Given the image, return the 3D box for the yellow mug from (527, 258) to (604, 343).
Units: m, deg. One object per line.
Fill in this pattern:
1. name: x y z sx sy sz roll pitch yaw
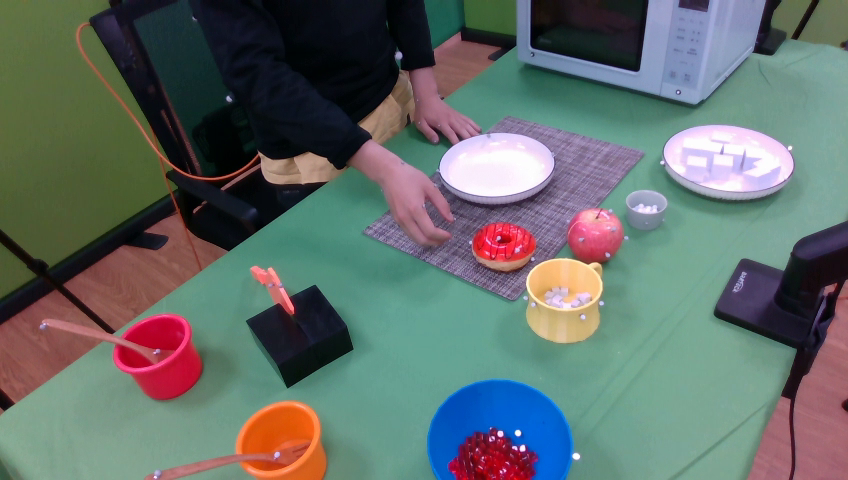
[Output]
1. yellow mug: 0.201 0.073 0.825 0.131 0.064 0.099 -32 46 -27

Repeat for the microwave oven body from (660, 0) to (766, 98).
1. microwave oven body: 0.472 -0.513 1.317 0.438 0.261 0.327 26 51 34

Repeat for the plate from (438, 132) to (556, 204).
1. plate: 0.130 -0.125 1.084 0.209 0.038 0.208 -4 40 4

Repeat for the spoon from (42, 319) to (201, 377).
1. spoon: -0.385 0.135 0.779 0.195 0.021 0.041 28 37 -26

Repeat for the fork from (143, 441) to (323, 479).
1. fork: -0.189 0.231 0.631 0.028 0.018 0.209 35 13 37

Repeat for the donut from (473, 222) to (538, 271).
1. donut: 0.124 0.009 0.923 0.099 0.048 0.098 -4 38 4

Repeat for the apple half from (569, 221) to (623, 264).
1. apple half: 0.251 0.010 0.884 0.081 0.081 0.032 3 37 12

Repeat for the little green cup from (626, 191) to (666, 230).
1. little green cup: 0.352 -0.046 0.963 0.061 0.039 0.061 -4 40 4

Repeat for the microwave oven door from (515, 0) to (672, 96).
1. microwave oven door: 0.343 -0.454 1.259 0.353 0.245 0.039 26 51 33

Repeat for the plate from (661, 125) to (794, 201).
1. plate: 0.513 -0.128 1.035 0.207 0.039 0.206 -4 40 4

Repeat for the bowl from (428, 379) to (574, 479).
1. bowl: 0.082 0.233 0.644 0.151 0.077 0.150 -4 39 4

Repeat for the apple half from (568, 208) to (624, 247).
1. apple half: 0.259 -0.014 0.914 0.080 0.075 0.053 0 36 15

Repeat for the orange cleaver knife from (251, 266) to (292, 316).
1. orange cleaver knife: -0.221 0.071 0.873 0.012 0.077 0.210 -25 11 -21

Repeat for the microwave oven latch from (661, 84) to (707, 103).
1. microwave oven latch: 0.517 -0.296 1.204 0.078 0.029 0.030 27 52 35
